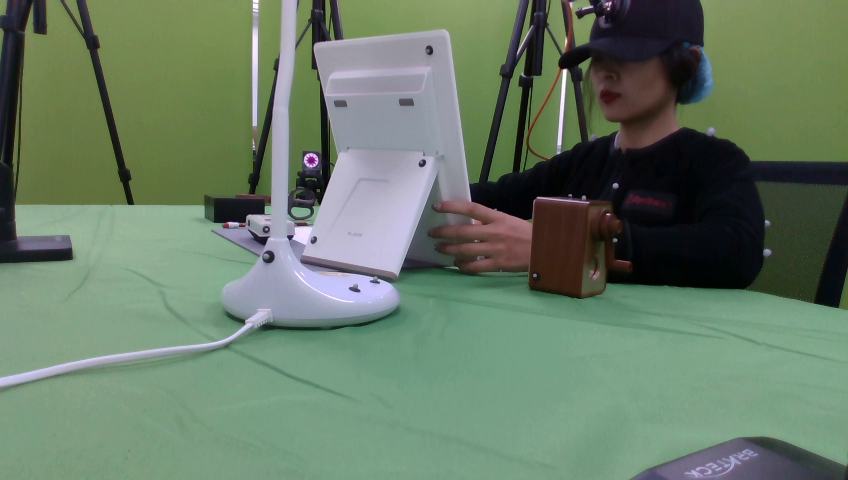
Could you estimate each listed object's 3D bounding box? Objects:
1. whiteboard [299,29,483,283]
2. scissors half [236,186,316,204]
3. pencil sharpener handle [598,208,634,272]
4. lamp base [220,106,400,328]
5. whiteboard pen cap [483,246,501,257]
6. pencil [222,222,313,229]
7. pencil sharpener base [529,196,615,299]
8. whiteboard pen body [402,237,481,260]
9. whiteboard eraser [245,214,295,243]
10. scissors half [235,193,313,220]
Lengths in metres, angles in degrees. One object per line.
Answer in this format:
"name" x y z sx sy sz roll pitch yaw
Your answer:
"whiteboard" -0.074 -0.082 0.742 0.216 0.305 0.144 9 29 37
"scissors half" -0.320 -0.097 1.316 0.176 0.040 0.013 -3 11 -29
"pencil sharpener handle" 0.208 0.000 0.644 0.030 0.068 0.036 10 23 42
"lamp base" -0.101 -0.023 0.531 0.160 0.180 0.179 4 10 10
"whiteboard pen cap" 0.104 0.017 0.936 0.018 0.018 0.033 -1 4 -22
"pencil" -0.302 -0.030 1.189 0.195 0.012 0.012 -2 9 -42
"pencil sharpener base" 0.168 0.007 0.678 0.076 0.107 0.062 10 10 42
"whiteboard pen body" 0.023 0.011 0.899 0.140 0.017 0.017 12 12 34
"whiteboard eraser" -0.247 -0.018 0.965 0.056 0.042 0.112 0 8 -28
"scissors half" -0.324 -0.077 1.319 0.176 0.040 0.012 17 6 -31
